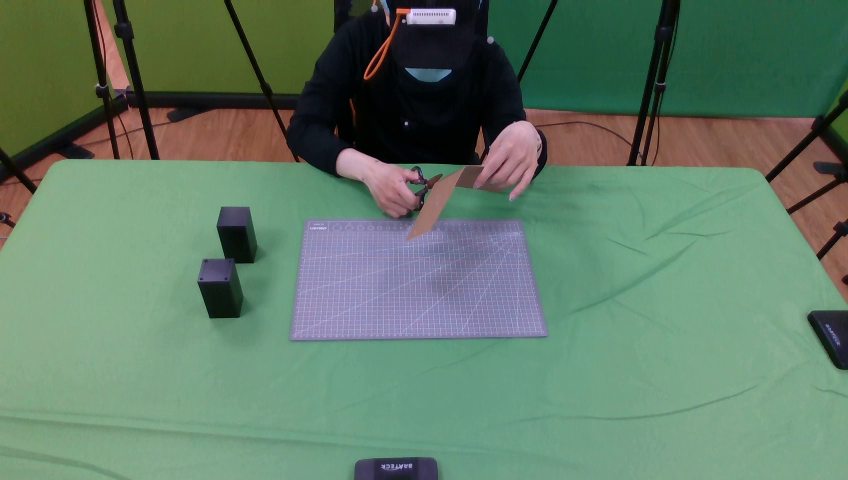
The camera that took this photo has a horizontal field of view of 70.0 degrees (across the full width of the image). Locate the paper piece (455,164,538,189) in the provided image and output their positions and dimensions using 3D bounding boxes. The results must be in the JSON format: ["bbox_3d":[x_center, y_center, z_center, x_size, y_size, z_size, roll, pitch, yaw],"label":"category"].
[{"bbox_3d":[0.113,-0.114,1.104,0.138,0.136,0.008,5,83,-22],"label":"paper piece"}]

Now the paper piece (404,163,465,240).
[{"bbox_3d":[0.016,-0.065,1.057,0.004,0.135,0.135,32,73,-14],"label":"paper piece"}]

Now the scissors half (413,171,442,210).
[{"bbox_3d":[0.007,-0.099,1.181,0.013,0.175,0.040,-1,72,-18],"label":"scissors half"}]

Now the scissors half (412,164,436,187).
[{"bbox_3d":[0.005,-0.122,1.181,0.013,0.040,0.174,-6,15,-18],"label":"scissors half"}]
